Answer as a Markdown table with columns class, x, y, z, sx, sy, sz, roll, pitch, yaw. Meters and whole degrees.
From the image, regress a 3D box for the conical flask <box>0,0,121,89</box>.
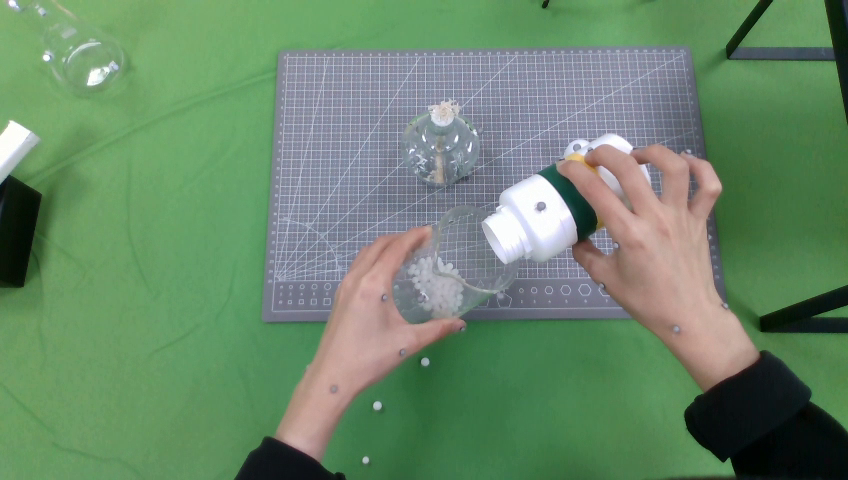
| class | x | y | z | sx | sy | sz | roll | pitch | yaw |
| --- | --- | --- | --- | --- | --- | --- | --- | --- | --- |
| conical flask | -0.369 | -0.212 | 0.608 | 0.075 | 0.122 | 0.075 | 0 | 74 | 1 |

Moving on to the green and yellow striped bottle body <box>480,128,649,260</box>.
| class | x | y | z | sx | sy | sz | roll | pitch | yaw |
| --- | --- | --- | --- | --- | --- | --- | --- | --- | --- |
| green and yellow striped bottle body | 0.103 | -0.030 | 0.460 | 0.120 | 0.063 | 0.063 | -30 | 75 | -4 |

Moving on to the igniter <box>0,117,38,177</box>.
| class | x | y | z | sx | sy | sz | roll | pitch | yaw |
| --- | --- | --- | --- | --- | --- | --- | --- | --- | --- |
| igniter | -0.458 | 0.002 | 0.549 | 0.057 | 0.025 | 0.276 | 29 | 76 | 18 |

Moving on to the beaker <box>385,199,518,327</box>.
| class | x | y | z | sx | sy | sz | roll | pitch | yaw |
| --- | --- | --- | --- | --- | --- | --- | --- | --- | --- |
| beaker | 0.016 | 0.025 | 0.493 | 0.084 | 0.100 | 0.073 | -25 | 79 | -39 |

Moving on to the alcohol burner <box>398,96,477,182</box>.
| class | x | y | z | sx | sy | sz | roll | pitch | yaw |
| --- | --- | --- | --- | --- | --- | --- | --- | --- | --- |
| alcohol burner | 0.013 | -0.102 | 0.576 | 0.078 | 0.119 | 0.077 | 0 | 73 | -1 |

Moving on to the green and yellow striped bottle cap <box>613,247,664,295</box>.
| class | x | y | z | sx | sy | sz | roll | pitch | yaw |
| --- | --- | --- | --- | --- | --- | --- | --- | --- | --- |
| green and yellow striped bottle cap | 0.209 | 0.030 | 0.589 | 0.045 | 0.020 | 0.045 | 0 | 75 | 0 |

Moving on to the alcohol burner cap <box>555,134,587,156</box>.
| class | x | y | z | sx | sy | sz | roll | pitch | yaw |
| --- | --- | --- | --- | --- | --- | --- | --- | --- | --- |
| alcohol burner cap | 0.152 | -0.089 | 0.608 | 0.034 | 0.048 | 0.033 | 0 | 74 | 0 |
